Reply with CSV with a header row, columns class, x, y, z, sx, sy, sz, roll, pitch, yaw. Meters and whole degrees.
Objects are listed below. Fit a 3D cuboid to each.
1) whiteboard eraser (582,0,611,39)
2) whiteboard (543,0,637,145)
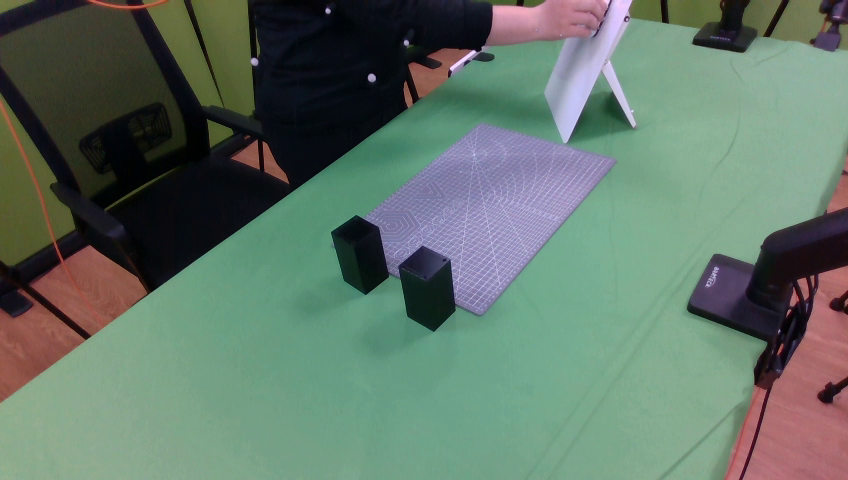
class,x,y,z,sx,sy,sz,roll,pitch,yaw
whiteboard eraser,0.311,-0.411,1.083,0.019,0.101,0.041,8,41,-11
whiteboard,0.365,-0.352,1.160,0.144,0.306,0.216,9,39,-10
